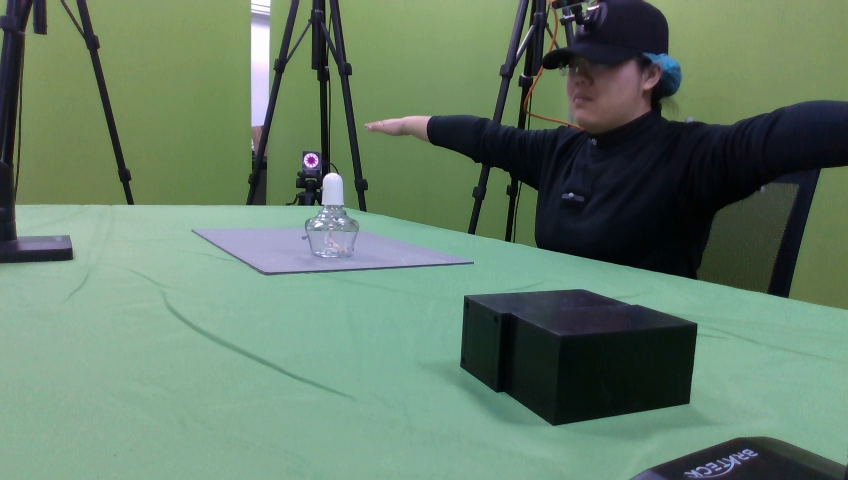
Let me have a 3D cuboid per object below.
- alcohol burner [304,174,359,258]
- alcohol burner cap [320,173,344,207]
[{"bbox_3d":[-0.130,-0.035,0.851,0.078,0.119,0.078,2,5,0],"label":"alcohol burner"},{"bbox_3d":[-0.129,-0.071,0.848,0.034,0.048,0.034,1,2,0],"label":"alcohol burner cap"}]
